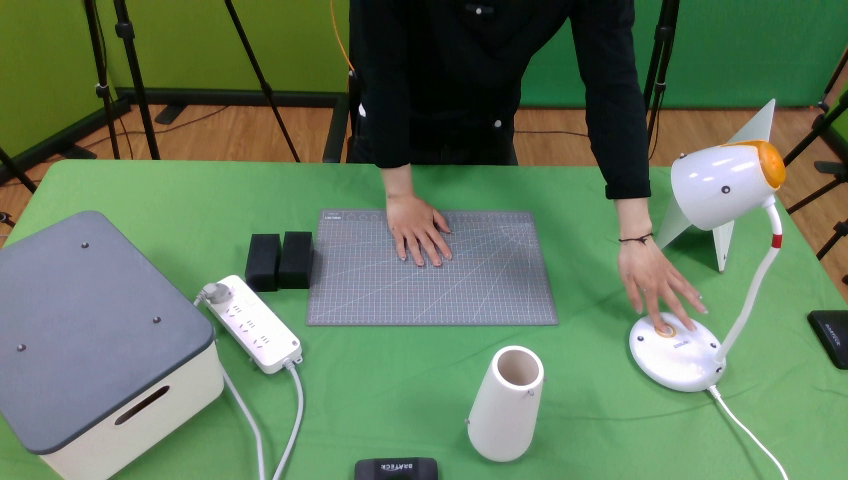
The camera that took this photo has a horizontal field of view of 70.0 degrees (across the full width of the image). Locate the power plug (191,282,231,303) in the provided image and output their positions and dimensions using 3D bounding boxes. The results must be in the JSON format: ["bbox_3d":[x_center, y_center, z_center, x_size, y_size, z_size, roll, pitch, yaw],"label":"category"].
[{"bbox_3d":[-0.368,0.097,1.039,0.072,0.053,0.035,-27,55,-21],"label":"power plug"}]

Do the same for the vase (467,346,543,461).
[{"bbox_3d":[0.116,0.234,0.861,0.098,0.201,0.097,1,47,-1],"label":"vase"}]

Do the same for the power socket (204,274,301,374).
[{"bbox_3d":[-0.296,0.140,1.035,0.072,0.033,0.225,-33,57,-29],"label":"power socket"}]

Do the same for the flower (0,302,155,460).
[{"bbox_3d":[-0.553,0.222,0.944,0.361,0.038,0.044,39,62,6],"label":"flower"}]

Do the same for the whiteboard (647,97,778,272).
[{"bbox_3d":[0.602,-0.079,1.162,0.144,0.306,0.216,35,51,2],"label":"whiteboard"}]

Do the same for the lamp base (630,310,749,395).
[{"bbox_3d":[0.447,0.143,0.984,0.161,0.181,0.178,-24,55,-24],"label":"lamp base"}]

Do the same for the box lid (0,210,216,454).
[{"bbox_3d":[-0.504,0.102,0.863,0.369,0.015,0.263,35,53,26],"label":"box lid"}]

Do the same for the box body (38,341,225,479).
[{"bbox_3d":[-0.506,0.155,0.915,0.362,0.161,0.254,35,54,26],"label":"box body"}]

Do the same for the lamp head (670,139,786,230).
[{"bbox_3d":[0.415,-0.079,0.812,0.113,0.123,0.112,13,70,-37],"label":"lamp head"}]
